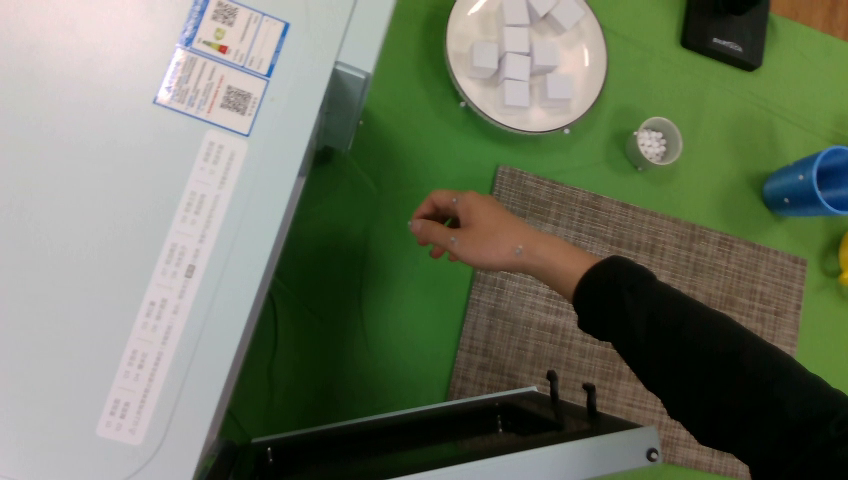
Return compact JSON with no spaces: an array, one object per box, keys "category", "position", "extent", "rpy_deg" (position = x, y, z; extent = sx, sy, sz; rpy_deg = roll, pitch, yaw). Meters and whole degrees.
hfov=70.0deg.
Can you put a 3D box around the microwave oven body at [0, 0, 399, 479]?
[{"category":"microwave oven body","position":[-0.255,-0.037,0.519],"extent":[0.327,0.260,0.440],"rpy_deg":[19,81,-11]}]

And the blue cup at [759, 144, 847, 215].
[{"category":"blue cup","position":[0.492,-0.070,0.779],"extent":[0.093,0.100,0.092],"rpy_deg":[1,85,-13]}]

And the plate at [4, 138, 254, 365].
[{"category":"plate","position":[-0.266,0.010,0.564],"extent":[0.210,0.038,0.208],"rpy_deg":[2,84,-13]}]

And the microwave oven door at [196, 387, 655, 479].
[{"category":"microwave oven door","position":[-0.016,0.191,0.545],"extent":[0.357,0.243,0.039],"rpy_deg":[-7,84,-14]}]

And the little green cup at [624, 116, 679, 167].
[{"category":"little green cup","position":[0.286,-0.123,0.770],"extent":[0.062,0.038,0.061],"rpy_deg":[2,83,-12]}]

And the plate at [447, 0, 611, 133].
[{"category":"plate","position":[0.126,-0.230,0.744],"extent":[0.208,0.039,0.207],"rpy_deg":[1,84,-12]}]

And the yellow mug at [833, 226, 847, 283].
[{"category":"yellow mug","position":[0.610,0.026,0.814],"extent":[0.131,0.064,0.100],"rpy_deg":[-27,91,-13]}]

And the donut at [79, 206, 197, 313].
[{"category":"donut","position":[-0.259,0.018,0.552],"extent":[0.099,0.048,0.098],"rpy_deg":[3,75,-10]}]

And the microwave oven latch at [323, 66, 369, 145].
[{"category":"microwave oven latch","position":[-0.086,-0.147,0.667],"extent":[0.030,0.029,0.079],"rpy_deg":[23,80,-10]}]
